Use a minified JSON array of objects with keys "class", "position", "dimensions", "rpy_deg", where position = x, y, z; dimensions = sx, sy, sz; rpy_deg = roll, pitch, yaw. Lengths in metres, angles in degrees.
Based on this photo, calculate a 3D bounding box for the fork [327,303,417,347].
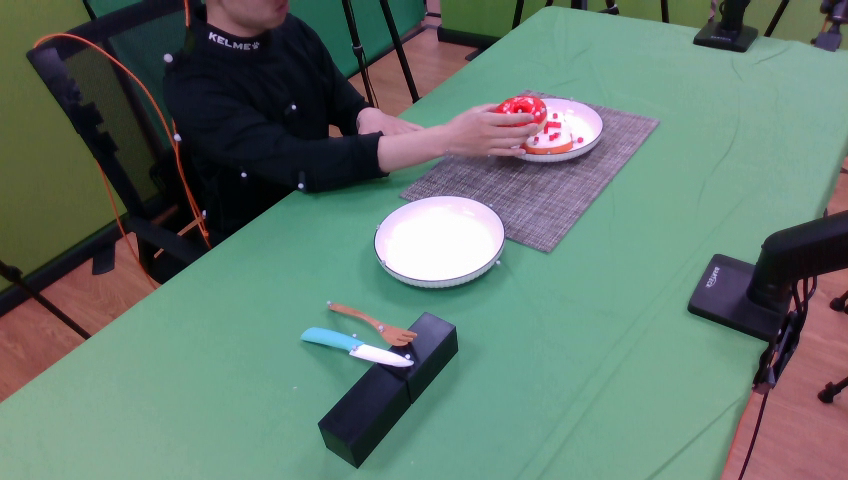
[{"class":"fork","position":[-0.077,0.110,0.811],"dimensions":[0.028,0.019,0.205],"rpy_deg":[-40,33,-26]}]

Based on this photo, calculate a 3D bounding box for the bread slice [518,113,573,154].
[{"class":"bread slice","position":[0.233,-0.205,1.160],"dimensions":[0.105,0.019,0.131],"rpy_deg":[-7,40,1]}]

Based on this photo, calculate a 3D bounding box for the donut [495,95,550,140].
[{"class":"donut","position":[0.178,-0.223,1.093],"dimensions":[0.099,0.048,0.098],"rpy_deg":[-7,51,10]}]

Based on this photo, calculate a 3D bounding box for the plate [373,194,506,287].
[{"class":"plate","position":[0.025,0.003,0.951],"dimensions":[0.207,0.039,0.206],"rpy_deg":[-4,40,4]}]

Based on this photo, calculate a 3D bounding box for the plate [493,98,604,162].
[{"class":"plate","position":[0.237,-0.206,1.158],"dimensions":[0.209,0.038,0.208],"rpy_deg":[-4,40,4]}]

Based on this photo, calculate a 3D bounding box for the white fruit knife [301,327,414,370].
[{"class":"white fruit knife","position":[-0.088,0.140,0.781],"dimensions":[0.205,0.016,0.027],"rpy_deg":[8,42,42]}]
